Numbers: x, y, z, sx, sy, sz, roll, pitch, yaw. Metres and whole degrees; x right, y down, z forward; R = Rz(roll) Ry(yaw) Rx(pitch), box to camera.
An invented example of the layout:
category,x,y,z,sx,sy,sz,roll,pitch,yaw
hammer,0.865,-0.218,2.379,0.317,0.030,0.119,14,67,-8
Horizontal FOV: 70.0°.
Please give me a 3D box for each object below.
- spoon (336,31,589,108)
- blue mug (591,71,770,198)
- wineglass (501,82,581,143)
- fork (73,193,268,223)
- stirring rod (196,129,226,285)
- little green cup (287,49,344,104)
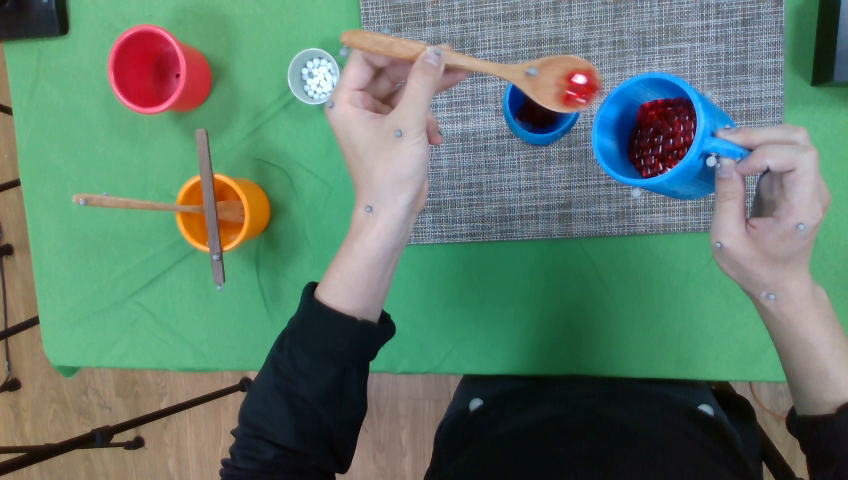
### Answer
category,x,y,z,sx,sy,sz,roll,pitch,yaw
spoon,0.034,-0.126,0.430,0.195,0.021,0.042,3,115,-25
blue mug,0.204,-0.074,0.467,0.115,0.106,0.082,24,104,38
wineglass,0.114,-0.130,0.597,0.073,0.172,0.074,1,97,10
fork,-0.283,-0.038,0.695,0.209,0.018,0.028,3,108,-34
stirring rod,-0.241,-0.036,0.685,0.014,0.006,0.176,-3,98,12
little green cup,-0.123,-0.186,0.702,0.061,0.038,0.061,2,99,10
